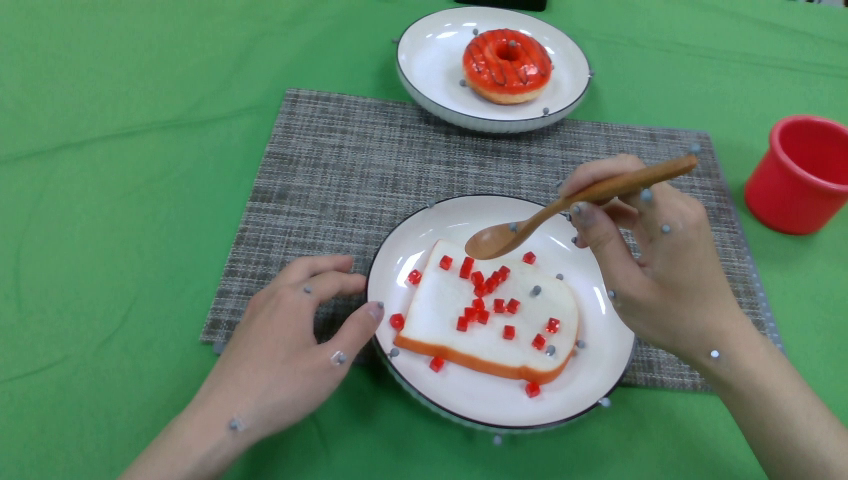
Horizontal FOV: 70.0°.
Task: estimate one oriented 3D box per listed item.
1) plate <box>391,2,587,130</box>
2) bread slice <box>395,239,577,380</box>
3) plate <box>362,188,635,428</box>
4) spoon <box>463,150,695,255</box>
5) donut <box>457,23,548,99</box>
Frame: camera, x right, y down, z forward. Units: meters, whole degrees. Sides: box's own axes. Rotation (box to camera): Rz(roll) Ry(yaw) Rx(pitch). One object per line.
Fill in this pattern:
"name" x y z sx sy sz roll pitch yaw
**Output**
"plate" 0.068 -0.185 0.653 0.208 0.039 0.205 4 51 -4
"bread slice" 0.054 0.052 0.473 0.131 0.019 0.104 14 53 8
"plate" 0.056 0.048 0.472 0.209 0.038 0.207 3 53 -3
"spoon" 0.084 -0.021 0.382 0.022 0.193 0.041 48 60 -8
"donut" 0.083 -0.190 0.643 0.099 0.048 0.098 4 53 -5
